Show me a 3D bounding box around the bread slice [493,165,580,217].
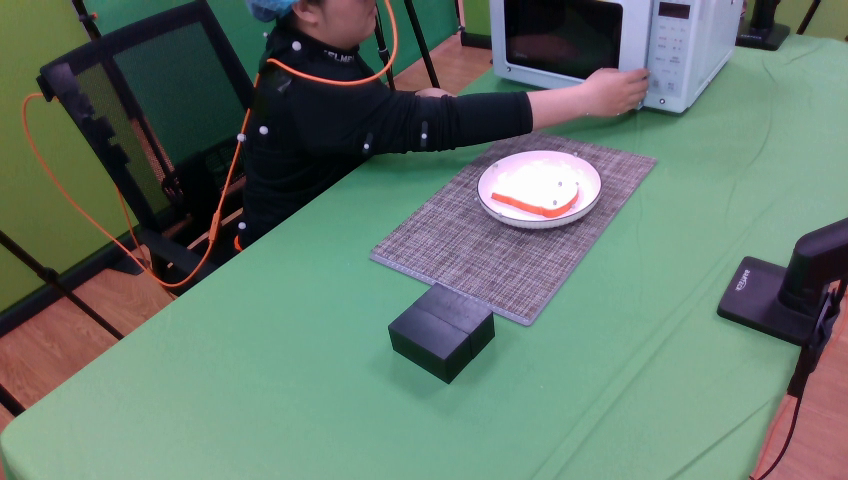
[{"bbox_3d":[0.200,-0.084,1.034,0.130,0.019,0.105,23,50,34],"label":"bread slice"}]

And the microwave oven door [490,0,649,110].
[{"bbox_3d":[0.287,-0.415,1.223,0.353,0.245,0.039,24,51,34],"label":"microwave oven door"}]

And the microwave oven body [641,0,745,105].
[{"bbox_3d":[0.416,-0.486,1.290,0.438,0.261,0.327,21,50,33],"label":"microwave oven body"}]

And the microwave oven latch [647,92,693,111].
[{"bbox_3d":[0.477,-0.273,1.177,0.078,0.029,0.030,23,51,34],"label":"microwave oven latch"}]

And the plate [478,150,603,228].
[{"bbox_3d":[0.198,-0.084,1.030,0.209,0.038,0.208,-5,40,5],"label":"plate"}]
